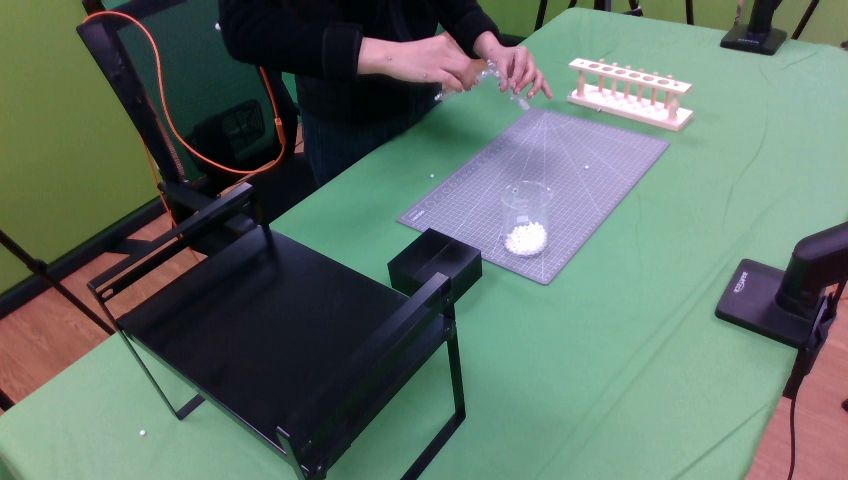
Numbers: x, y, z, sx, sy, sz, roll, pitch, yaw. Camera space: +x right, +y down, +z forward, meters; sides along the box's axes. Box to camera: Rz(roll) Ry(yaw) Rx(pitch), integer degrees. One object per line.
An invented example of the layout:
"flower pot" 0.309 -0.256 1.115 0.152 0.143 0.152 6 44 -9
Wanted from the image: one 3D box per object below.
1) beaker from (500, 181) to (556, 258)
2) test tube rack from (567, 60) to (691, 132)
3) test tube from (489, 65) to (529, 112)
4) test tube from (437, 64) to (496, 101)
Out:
"beaker" 0.159 -0.030 0.922 0.084 0.100 0.073 -13 41 -8
"test tube rack" 0.411 -0.299 1.217 0.240 0.085 0.067 26 51 34
"test tube" 0.155 -0.267 1.080 0.017 0.152 0.017 -11 68 29
"test tube" 0.070 -0.254 0.972 0.017 0.017 0.151 24 43 32
